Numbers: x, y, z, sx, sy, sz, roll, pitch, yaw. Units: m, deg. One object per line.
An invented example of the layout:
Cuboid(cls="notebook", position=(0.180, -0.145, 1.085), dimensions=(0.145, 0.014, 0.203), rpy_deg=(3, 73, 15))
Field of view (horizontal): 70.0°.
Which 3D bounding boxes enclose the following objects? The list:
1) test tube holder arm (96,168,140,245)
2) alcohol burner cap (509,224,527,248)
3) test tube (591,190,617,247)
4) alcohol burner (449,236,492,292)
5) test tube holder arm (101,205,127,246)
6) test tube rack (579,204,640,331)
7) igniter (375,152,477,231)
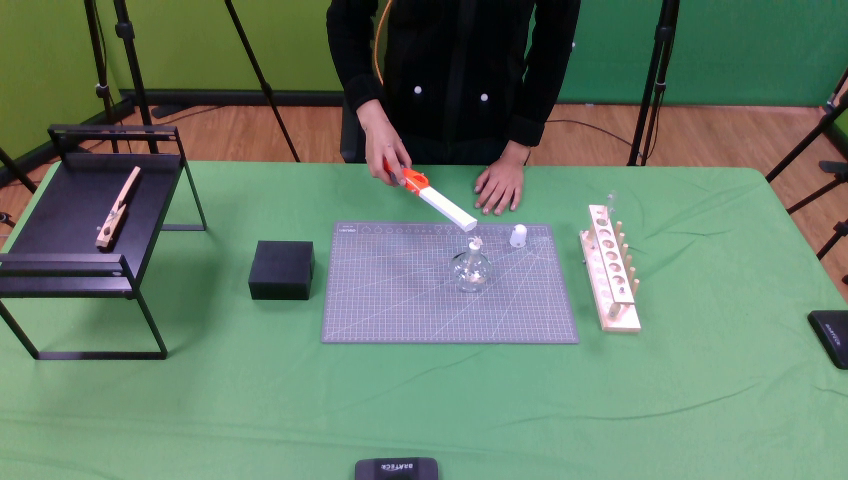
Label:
Cuboid(cls="test tube holder arm", position=(-0.486, -0.058, 0.968), dimensions=(0.013, 0.015, 0.177), rpy_deg=(27, 37, -27))
Cuboid(cls="alcohol burner cap", position=(0.189, -0.011, 1.206), dimensions=(0.034, 0.048, 0.033), rpy_deg=(1, 46, -1))
Cuboid(cls="test tube", position=(0.340, -0.038, 1.149), dimensions=(0.017, 0.151, 0.017), rpy_deg=(1, 50, -1))
Cuboid(cls="alcohol burner", position=(0.086, 0.038, 1.101), dimensions=(0.078, 0.119, 0.077), rpy_deg=(3, 44, -2))
Cuboid(cls="test tube holder arm", position=(-0.480, -0.025, 0.938), dimensions=(0.010, 0.015, 0.087), rpy_deg=(28, 37, -26))
Cuboid(cls="test tube rack", position=(0.353, 0.047, 1.137), dimensions=(0.067, 0.085, 0.241), rpy_deg=(2, 46, -2))
Cuboid(cls="igniter", position=(-0.005, -0.098, 1.146), dimensions=(0.057, 0.025, 0.275), rpy_deg=(-23, 48, -35))
